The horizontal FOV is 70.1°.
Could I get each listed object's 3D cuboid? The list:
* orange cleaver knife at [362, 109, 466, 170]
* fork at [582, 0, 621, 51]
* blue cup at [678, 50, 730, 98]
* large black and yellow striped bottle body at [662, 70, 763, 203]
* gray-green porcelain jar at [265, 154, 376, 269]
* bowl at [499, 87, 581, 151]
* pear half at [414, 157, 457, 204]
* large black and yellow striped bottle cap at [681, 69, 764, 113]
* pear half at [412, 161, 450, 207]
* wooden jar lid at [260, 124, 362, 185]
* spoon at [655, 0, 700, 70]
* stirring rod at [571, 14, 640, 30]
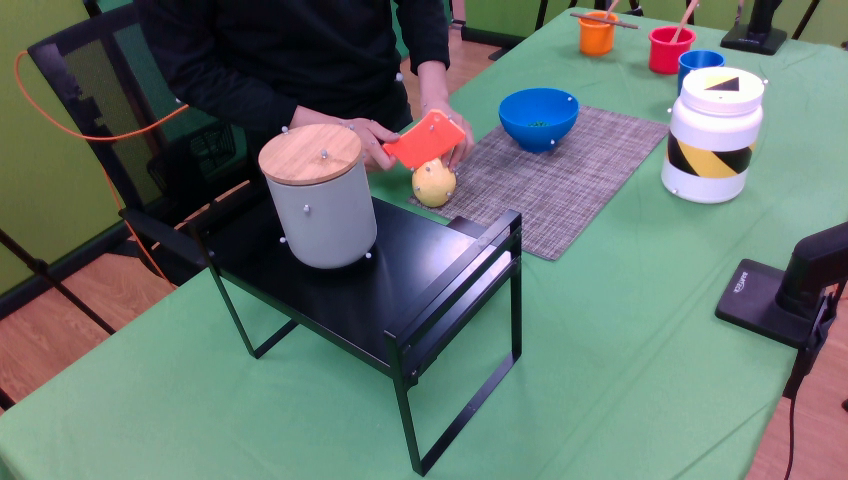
[{"bbox_3d":[-0.026,-0.151,1.004,0.210,0.077,0.012,-21,31,35],"label":"orange cleaver knife"},{"bbox_3d":[0.446,-0.539,1.438,0.207,0.019,0.028,-57,35,12],"label":"fork"},{"bbox_3d":[0.542,-0.310,1.194,0.092,0.101,0.092,-6,41,6],"label":"blue cup"},{"bbox_3d":[0.464,-0.166,0.976,0.131,0.185,0.130,-5,41,5],"label":"large black and yellow striped bottle body"},{"bbox_3d":[-0.112,-0.039,0.685,0.106,0.127,0.105,-4,40,4],"label":"gray-green porcelain jar"},{"bbox_3d":[0.220,-0.223,1.156,0.151,0.077,0.150,-4,40,4],"label":"bowl"},{"bbox_3d":[0.022,-0.120,1.044,0.076,0.110,0.056,14,49,17],"label":"pear half"},{"bbox_3d":[0.453,-0.229,0.921,0.115,0.019,0.114,-4,39,4],"label":"large black and yellow striped bottle cap"},{"bbox_3d":[0.008,-0.090,1.025,0.070,0.088,0.031,11,44,16],"label":"pear half"},{"bbox_3d":[-0.119,-0.088,0.644,0.108,0.021,0.108,-4,40,3],"label":"wooden jar lid"},{"bbox_3d":[0.568,-0.463,1.337,0.041,0.022,0.193,30,97,37],"label":"spoon"},{"bbox_3d":[0.418,-0.508,1.404,0.174,0.006,0.014,28,55,35],"label":"stirring rod"}]
